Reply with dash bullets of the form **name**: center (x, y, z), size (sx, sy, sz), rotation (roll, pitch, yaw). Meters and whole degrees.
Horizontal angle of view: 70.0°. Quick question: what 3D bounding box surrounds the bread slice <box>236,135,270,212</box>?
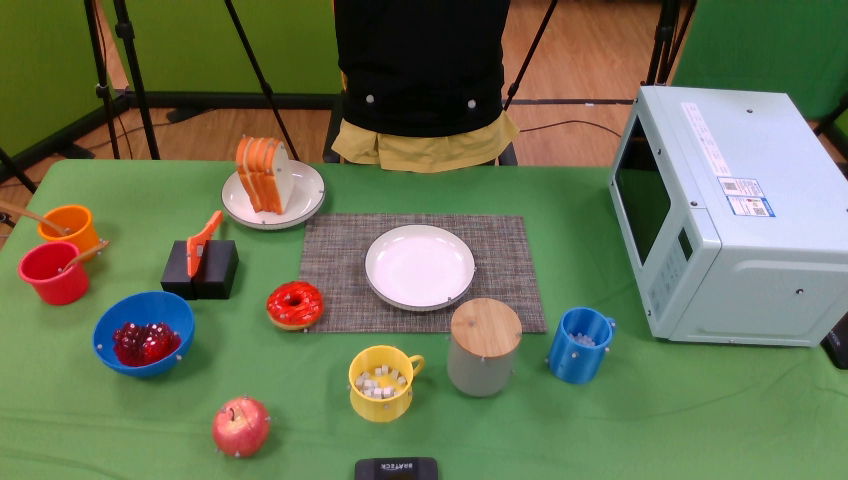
- **bread slice**: center (-0.340, -0.142, 1.218), size (0.018, 0.135, 0.106), rotation (-3, 44, 7)

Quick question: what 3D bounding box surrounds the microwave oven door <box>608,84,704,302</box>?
- **microwave oven door**: center (0.424, -0.096, 1.138), size (0.039, 0.245, 0.353), rotation (3, 46, -1)

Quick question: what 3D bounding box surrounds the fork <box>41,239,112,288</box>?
- **fork**: center (-0.591, 0.040, 1.028), size (0.207, 0.019, 0.028), rotation (-27, 36, 29)

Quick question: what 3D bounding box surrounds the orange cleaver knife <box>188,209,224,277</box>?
- **orange cleaver knife**: center (-0.402, 0.000, 1.123), size (0.012, 0.077, 0.210), rotation (1, 22, -2)

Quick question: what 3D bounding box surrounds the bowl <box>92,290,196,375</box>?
- **bowl**: center (-0.436, 0.161, 0.971), size (0.151, 0.077, 0.150), rotation (2, 46, -2)

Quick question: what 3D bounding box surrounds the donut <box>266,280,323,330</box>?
- **donut**: center (-0.223, 0.113, 1.051), size (0.099, 0.048, 0.098), rotation (2, 46, -2)

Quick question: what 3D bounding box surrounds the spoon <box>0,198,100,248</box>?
- **spoon**: center (-0.684, -0.035, 1.092), size (0.021, 0.195, 0.041), rotation (-33, 41, 27)

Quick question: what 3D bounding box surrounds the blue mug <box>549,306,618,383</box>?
- **blue mug**: center (0.269, 0.167, 0.997), size (0.116, 0.106, 0.082), rotation (-19, 50, -21)

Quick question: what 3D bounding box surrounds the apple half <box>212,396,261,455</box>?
- **apple half**: center (-0.276, 0.276, 0.877), size (0.053, 0.075, 0.080), rotation (-29, 58, -20)

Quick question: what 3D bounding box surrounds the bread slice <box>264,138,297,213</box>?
- **bread slice**: center (-0.287, -0.134, 1.214), size (0.019, 0.132, 0.104), rotation (1, 45, 8)

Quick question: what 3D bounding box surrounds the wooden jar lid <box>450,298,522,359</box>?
- **wooden jar lid**: center (0.093, 0.135, 0.914), size (0.108, 0.021, 0.107), rotation (3, 48, -3)

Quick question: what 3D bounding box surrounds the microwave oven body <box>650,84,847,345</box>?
- **microwave oven body**: center (0.568, -0.054, 1.116), size (0.326, 0.261, 0.439), rotation (2, 46, -1)

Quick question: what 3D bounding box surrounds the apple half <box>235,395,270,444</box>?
- **apple half**: center (-0.245, 0.259, 0.893), size (0.033, 0.082, 0.081), rotation (-29, 55, -22)

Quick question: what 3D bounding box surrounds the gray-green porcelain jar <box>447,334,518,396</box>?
- **gray-green porcelain jar**: center (0.091, 0.178, 0.960), size (0.106, 0.127, 0.105), rotation (2, 46, -2)

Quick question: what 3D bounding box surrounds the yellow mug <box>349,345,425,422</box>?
- **yellow mug**: center (-0.054, 0.217, 0.954), size (0.131, 0.064, 0.099), rotation (-23, 52, -25)

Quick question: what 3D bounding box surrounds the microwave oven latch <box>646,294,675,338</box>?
- **microwave oven latch**: center (0.412, 0.132, 1.060), size (0.030, 0.029, 0.078), rotation (4, 46, 1)

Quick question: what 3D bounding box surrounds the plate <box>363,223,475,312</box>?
- **plate**: center (-0.009, 0.054, 1.126), size (0.208, 0.039, 0.206), rotation (2, 46, -2)

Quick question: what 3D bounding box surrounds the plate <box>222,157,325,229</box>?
- **plate**: center (-0.308, -0.094, 1.251), size (0.209, 0.038, 0.208), rotation (2, 46, -2)
